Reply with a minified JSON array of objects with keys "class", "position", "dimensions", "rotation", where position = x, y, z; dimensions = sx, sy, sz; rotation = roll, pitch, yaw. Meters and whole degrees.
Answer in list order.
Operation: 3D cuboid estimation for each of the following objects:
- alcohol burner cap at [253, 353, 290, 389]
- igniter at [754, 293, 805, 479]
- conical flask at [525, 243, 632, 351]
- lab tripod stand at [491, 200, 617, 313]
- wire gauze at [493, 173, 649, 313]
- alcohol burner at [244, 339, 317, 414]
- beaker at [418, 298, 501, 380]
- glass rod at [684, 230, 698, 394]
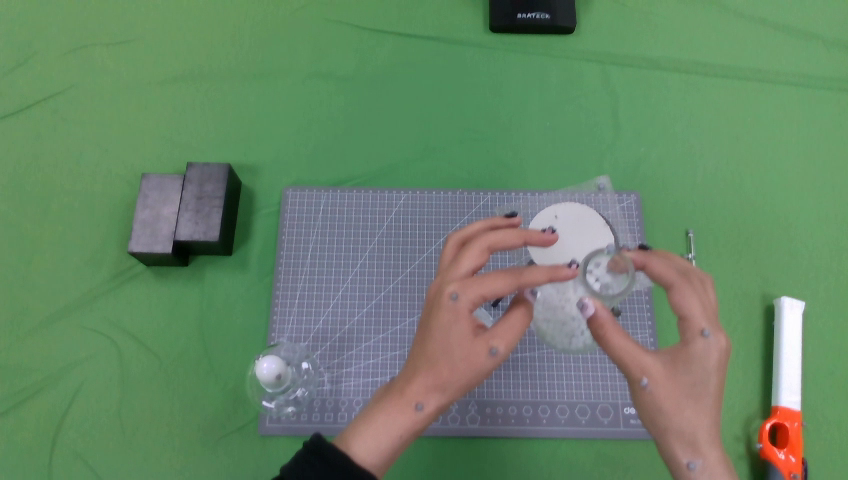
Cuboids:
[{"class":"alcohol burner cap","position":[-0.151,0.126,0.595],"dimensions":[0.034,0.048,0.033],"rotation":[2,68,-5]},{"class":"igniter","position":[0.393,0.193,0.668],"dimensions":[0.057,0.025,0.275],"rotation":[16,71,-6]},{"class":"conical flask","position":[0.124,0.040,0.468],"dimensions":[0.075,0.122,0.075],"rotation":[0,72,0]},{"class":"lab tripod stand","position":[0.145,0.026,0.663],"dimensions":[0.148,0.132,0.147],"rotation":[0,72,0]},{"class":"wire gauze","position":[0.145,0.002,0.600],"dimensions":[0.125,0.011,0.120],"rotation":[-15,73,-5]},{"class":"alcohol burner","position":[-0.152,0.140,0.629],"dimensions":[0.078,0.119,0.077],"rotation":[1,72,-2]},{"class":"beaker","position":[0.035,0.110,0.650],"dimensions":[0.084,0.101,0.073],"rotation":[-4,71,-3]},{"class":"glass rod","position":[0.314,0.081,0.715],"dimensions":[0.008,0.008,0.198],"rotation":[5,70,1]}]
